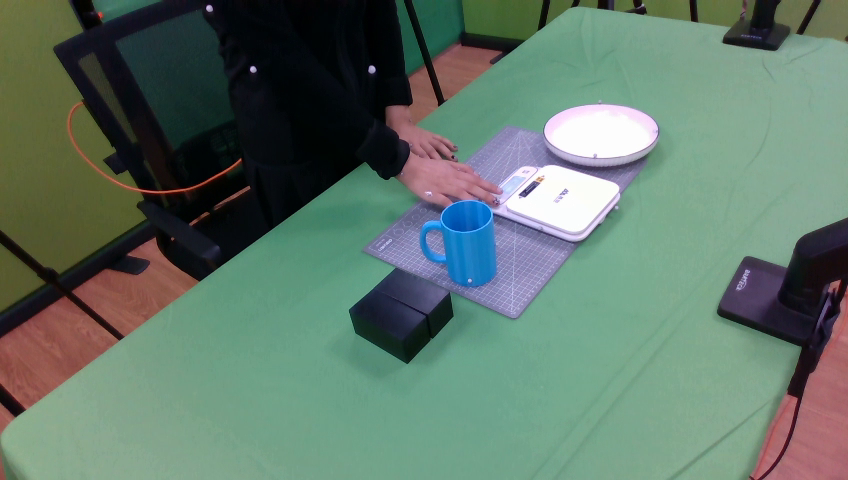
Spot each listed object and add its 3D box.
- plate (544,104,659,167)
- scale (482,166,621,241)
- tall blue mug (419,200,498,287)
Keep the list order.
[{"bbox_3d":[0.328,-0.192,1.131,0.209,0.038,0.208,-4,39,4],"label":"plate"},{"bbox_3d":[0.211,-0.070,1.014,0.199,0.032,0.149,23,49,33],"label":"scale"},{"bbox_3d":[0.053,0.010,0.889,0.107,0.108,0.077,-16,41,-7],"label":"tall blue mug"}]
